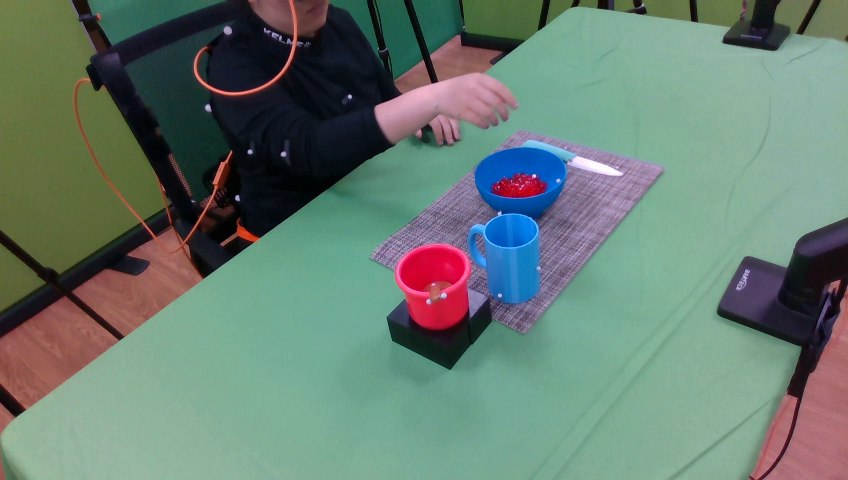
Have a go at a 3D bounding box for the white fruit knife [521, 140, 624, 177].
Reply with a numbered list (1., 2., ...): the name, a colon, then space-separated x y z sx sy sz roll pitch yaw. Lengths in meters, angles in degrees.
1. white fruit knife: 0.270 -0.149 1.110 0.206 0.016 0.027 25 79 32

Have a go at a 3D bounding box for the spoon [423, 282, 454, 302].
1. spoon: 0.015 0.062 0.733 0.041 0.021 0.194 -5 -4 3

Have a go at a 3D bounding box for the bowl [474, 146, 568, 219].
1. bowl: 0.161 -0.083 1.001 0.151 0.077 0.150 -5 40 5

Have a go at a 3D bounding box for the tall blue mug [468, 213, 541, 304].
1. tall blue mug: 0.111 0.026 0.856 0.107 0.108 0.077 2 42 13
